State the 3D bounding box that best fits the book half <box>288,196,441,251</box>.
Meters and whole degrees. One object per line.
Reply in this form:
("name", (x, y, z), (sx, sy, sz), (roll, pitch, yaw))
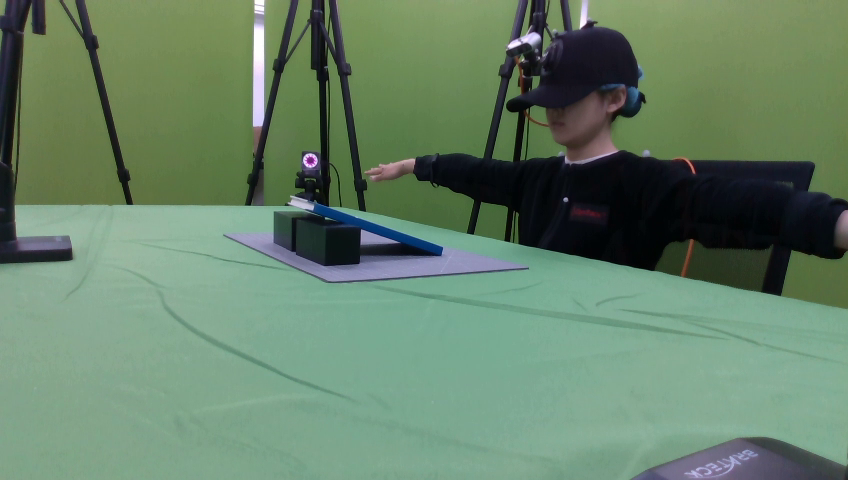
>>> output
("book half", (-0.092, -0.026, 0.920), (0.211, 0.007, 0.142), (19, -1, -27))
